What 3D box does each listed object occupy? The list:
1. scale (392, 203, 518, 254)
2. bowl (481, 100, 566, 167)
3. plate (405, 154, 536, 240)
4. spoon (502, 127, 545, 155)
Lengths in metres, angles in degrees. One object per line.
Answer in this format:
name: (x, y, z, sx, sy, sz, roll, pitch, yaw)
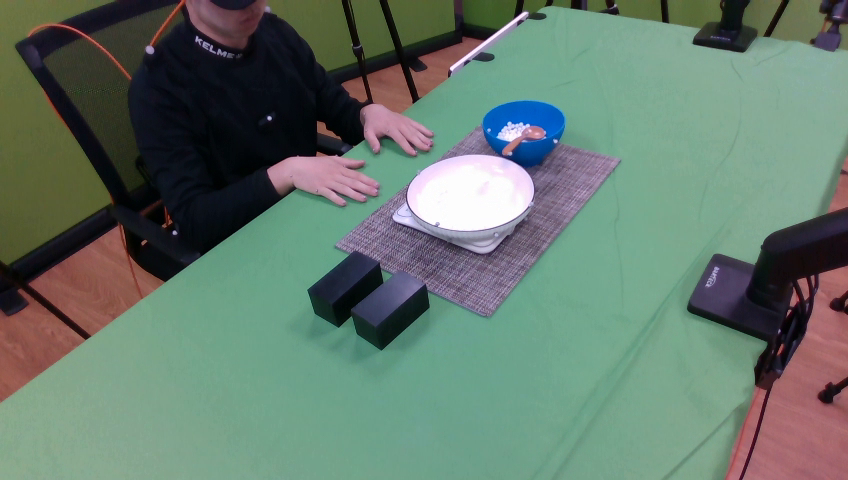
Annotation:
scale: (0.061, -0.051, 1.006, 0.199, 0.032, 0.149, 22, 48, 30)
bowl: (0.182, -0.186, 1.111, 0.151, 0.077, 0.150, -4, 40, 4)
plate: (0.075, -0.067, 0.973, 0.209, 0.038, 0.208, -4, 41, 4)
spoon: (0.169, -0.173, 1.046, 0.041, 0.021, 0.194, 21, 25, 20)
